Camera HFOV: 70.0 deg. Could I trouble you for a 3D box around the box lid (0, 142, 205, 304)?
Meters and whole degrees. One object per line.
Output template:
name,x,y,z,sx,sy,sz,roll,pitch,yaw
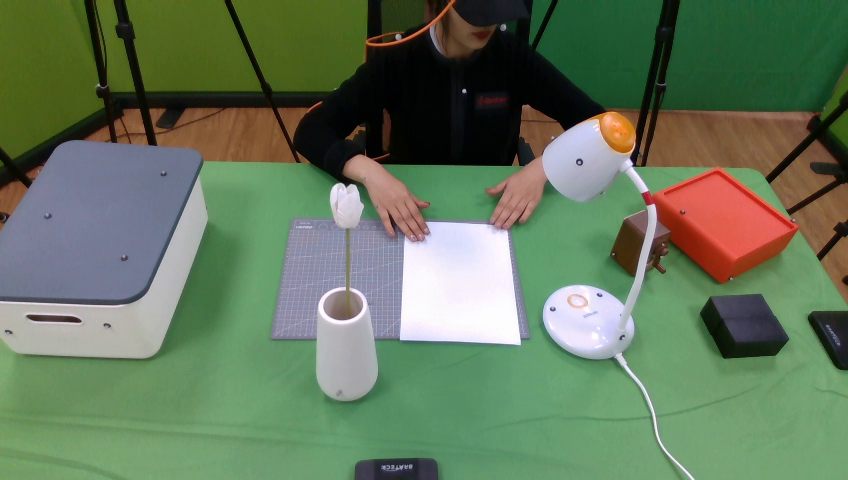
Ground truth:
box lid,-0.534,-0.044,0.995,0.263,0.015,0.369,3,45,-3

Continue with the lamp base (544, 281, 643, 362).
lamp base,0.304,0.095,1.014,0.161,0.181,0.178,-24,54,-24

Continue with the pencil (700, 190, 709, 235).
pencil,0.583,-0.058,1.257,0.012,0.012,0.193,16,35,12

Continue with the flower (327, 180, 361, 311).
flower,-0.110,0.086,0.867,0.044,0.363,0.038,22,33,35

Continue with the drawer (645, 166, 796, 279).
drawer,0.600,-0.040,1.236,0.195,0.073,0.210,-21,52,-23

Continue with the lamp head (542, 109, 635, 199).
lamp head,0.253,-0.131,0.893,0.113,0.123,0.112,10,66,-24

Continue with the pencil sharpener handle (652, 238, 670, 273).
pencil sharpener handle,0.443,0.030,1.120,0.036,0.068,0.030,-24,52,-17

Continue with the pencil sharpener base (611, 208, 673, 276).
pencil sharpener base,0.416,0.007,1.158,0.061,0.107,0.076,-20,51,-22

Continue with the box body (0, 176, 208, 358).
box body,-0.546,0.017,1.045,0.254,0.161,0.361,2,46,-2

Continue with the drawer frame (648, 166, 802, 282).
drawer frame,0.603,-0.040,1.233,0.202,0.083,0.212,-21,51,-23

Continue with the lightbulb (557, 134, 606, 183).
lightbulb,0.242,-0.127,0.916,0.059,0.108,0.059,5,67,-12

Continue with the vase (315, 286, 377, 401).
vase,-0.119,0.159,0.911,0.098,0.201,0.097,2,47,-2
